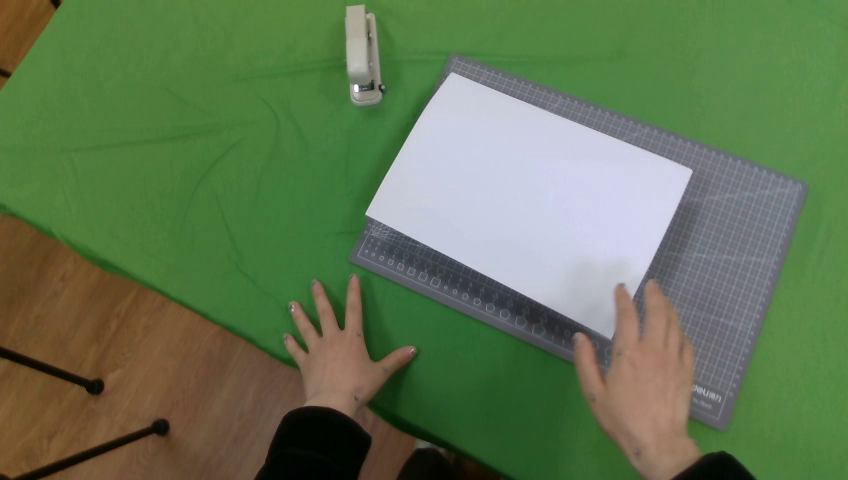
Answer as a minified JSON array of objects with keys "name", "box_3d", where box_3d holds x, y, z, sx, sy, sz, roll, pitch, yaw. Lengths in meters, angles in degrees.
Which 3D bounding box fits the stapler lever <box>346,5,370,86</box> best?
[{"name":"stapler lever","box_3d":[-0.083,-0.245,0.750,0.027,0.040,0.117,-5,74,0]}]

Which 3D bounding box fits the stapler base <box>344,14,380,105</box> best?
[{"name":"stapler base","box_3d":[-0.081,-0.236,0.772,0.041,0.024,0.129,-5,73,0]}]
